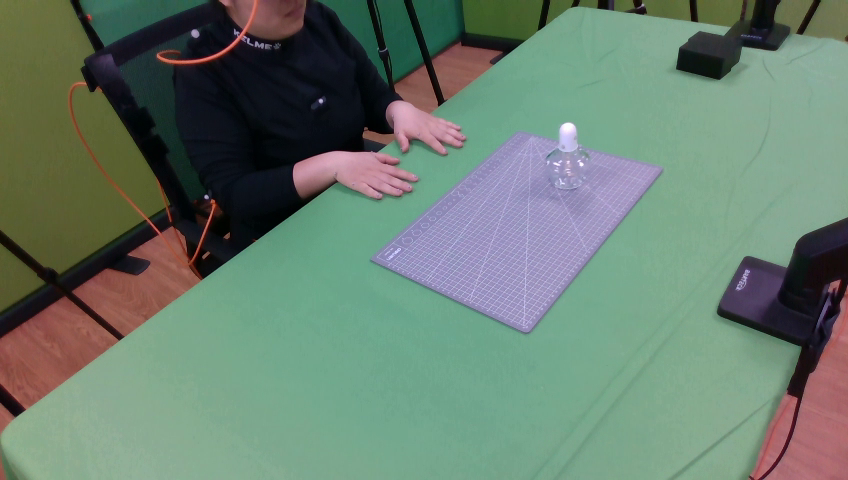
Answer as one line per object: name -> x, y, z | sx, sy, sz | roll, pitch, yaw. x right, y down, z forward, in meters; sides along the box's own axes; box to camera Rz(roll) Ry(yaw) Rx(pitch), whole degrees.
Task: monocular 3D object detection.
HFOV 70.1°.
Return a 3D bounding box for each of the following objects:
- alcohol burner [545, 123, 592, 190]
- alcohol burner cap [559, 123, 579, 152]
alcohol burner -> 0.247, -0.147, 1.034 | 0.078, 0.120, 0.077 | -7, 41, 6
alcohol burner cap -> 0.241, -0.173, 1.010 | 0.034, 0.048, 0.033 | -8, 43, 8
